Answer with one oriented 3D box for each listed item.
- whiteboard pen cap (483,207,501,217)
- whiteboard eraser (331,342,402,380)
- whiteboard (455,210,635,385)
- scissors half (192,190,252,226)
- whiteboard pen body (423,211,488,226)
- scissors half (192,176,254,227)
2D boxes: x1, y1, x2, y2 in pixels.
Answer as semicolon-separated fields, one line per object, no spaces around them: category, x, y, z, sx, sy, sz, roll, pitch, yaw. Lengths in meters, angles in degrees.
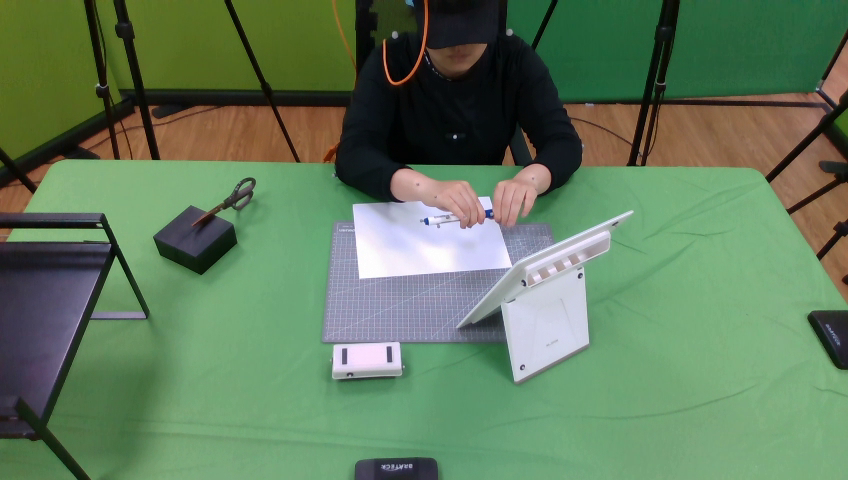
whiteboard pen cap;0.125;-0.050;1.117;0.033;0.018;0.018;-7;47;-8
whiteboard eraser;-0.094;0.198;0.986;0.113;0.042;0.055;-2;44;-6
whiteboard;0.210;0.111;0.955;0.217;0.306;0.143;-21;72;-23
scissors half;-0.393;-0.060;1.187;0.013;0.040;0.175;25;29;11
whiteboard pen body;0.068;-0.041;1.107;0.141;0.017;0.017;-6;47;-13
scissors half;-0.388;-0.075;1.174;0.013;0.040;0.174;29;47;8
